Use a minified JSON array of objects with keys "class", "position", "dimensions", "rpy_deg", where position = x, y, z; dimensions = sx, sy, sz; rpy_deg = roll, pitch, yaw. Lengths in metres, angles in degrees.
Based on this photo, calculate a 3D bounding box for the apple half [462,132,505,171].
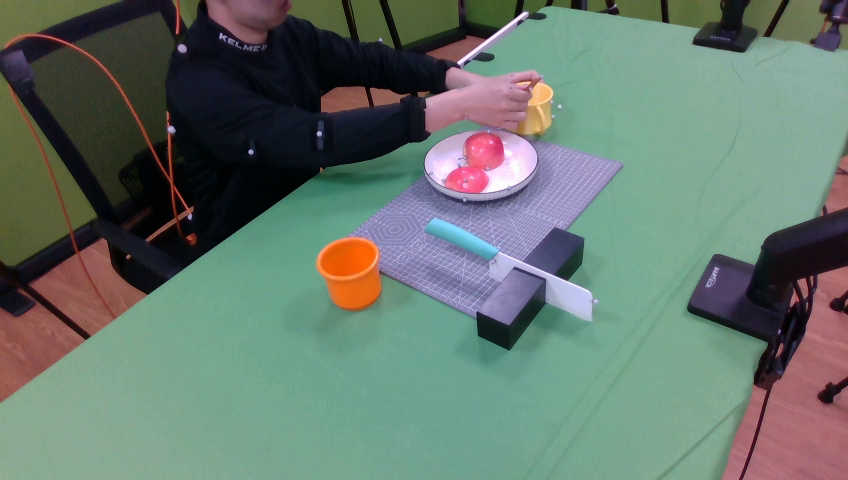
[{"class":"apple half","position":[0.110,-0.169,1.110],"dimensions":[0.075,0.053,0.080],"rpy_deg":[-6,40,-2]}]

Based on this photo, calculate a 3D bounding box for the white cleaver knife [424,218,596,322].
[{"class":"white cleaver knife","position":[0.114,0.042,0.865],"dimensions":[0.284,0.066,0.021],"rpy_deg":[27,47,28]}]

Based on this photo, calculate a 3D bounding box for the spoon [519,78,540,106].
[{"class":"spoon","position":[0.191,-0.269,1.136],"dimensions":[0.041,0.194,0.021],"rpy_deg":[-21,83,-2]}]

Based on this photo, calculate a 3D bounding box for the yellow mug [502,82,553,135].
[{"class":"yellow mug","position":[0.212,-0.256,1.203],"dimensions":[0.100,0.064,0.130],"rpy_deg":[-17,42,-9]}]

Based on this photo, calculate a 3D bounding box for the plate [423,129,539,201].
[{"class":"plate","position":[0.103,-0.132,1.092],"dimensions":[0.209,0.038,0.208],"rpy_deg":[-4,40,4]}]

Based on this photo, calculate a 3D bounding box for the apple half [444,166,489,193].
[{"class":"apple half","position":[0.074,-0.112,1.062],"dimensions":[0.081,0.033,0.081],"rpy_deg":[-6,39,5]}]
